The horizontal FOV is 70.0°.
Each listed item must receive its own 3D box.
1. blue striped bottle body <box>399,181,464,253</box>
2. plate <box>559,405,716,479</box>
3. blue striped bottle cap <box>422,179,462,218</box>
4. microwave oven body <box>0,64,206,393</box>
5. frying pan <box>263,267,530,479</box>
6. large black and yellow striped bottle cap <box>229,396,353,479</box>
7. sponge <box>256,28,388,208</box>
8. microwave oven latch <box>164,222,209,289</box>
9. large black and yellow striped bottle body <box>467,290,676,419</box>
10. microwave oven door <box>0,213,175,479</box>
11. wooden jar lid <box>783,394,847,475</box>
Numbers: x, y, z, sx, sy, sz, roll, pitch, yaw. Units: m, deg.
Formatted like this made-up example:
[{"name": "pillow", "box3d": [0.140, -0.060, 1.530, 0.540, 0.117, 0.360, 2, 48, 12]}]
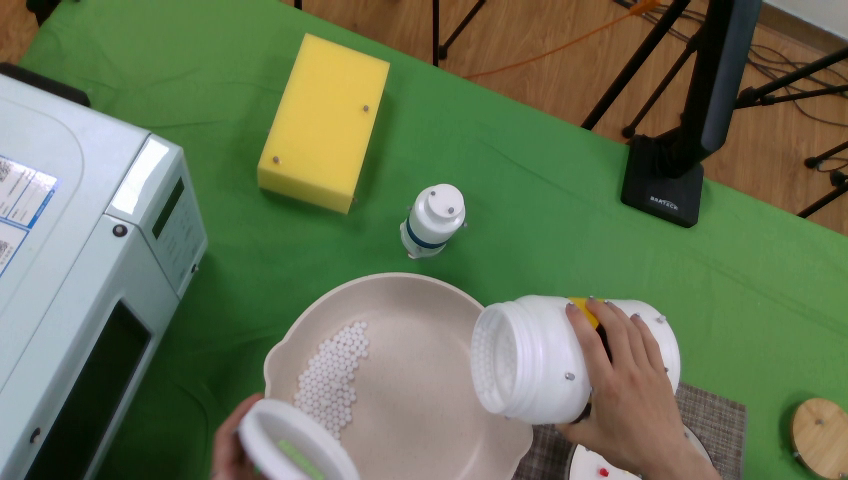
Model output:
[{"name": "blue striped bottle body", "box3d": [0.010, -0.031, 0.750, 0.063, 0.121, 0.062, 5, 70, -13]}, {"name": "plate", "box3d": [0.259, 0.302, 0.743, 0.210, 0.038, 0.207, 5, 70, -13]}, {"name": "blue striped bottle cap", "box3d": [0.021, -0.049, 0.704, 0.045, 0.020, 0.044, 4, 72, -13]}, {"name": "microwave oven body", "box3d": [-0.440, 0.083, 0.513, 0.327, 0.261, 0.439, 21, 68, -7]}, {"name": "frying pan", "box3d": [-0.058, 0.264, 0.638, 0.307, 0.103, 0.484, 20, 59, -5]}, {"name": "large black and yellow striped bottle cap", "box3d": [-0.111, 0.178, 0.514, 0.115, 0.115, 0.019, 39, 94, 1]}, {"name": "sponge", "box3d": [-0.130, -0.159, 0.789, 0.118, 0.061, 0.205, 16, 69, -9]}, {"name": "microwave oven latch", "box3d": [-0.272, 0.013, 0.686, 0.030, 0.029, 0.079, 24, 68, -6]}, {"name": "large black and yellow striped bottle body", "box3d": [0.150, 0.119, 0.637, 0.185, 0.131, 0.130, 4, 70, -20]}, {"name": "microwave oven door", "box3d": [-0.318, 0.171, 0.509, 0.039, 0.244, 0.354, 21, 67, -7]}, {"name": "wooden jar lid", "box3d": [0.547, 0.269, 0.843, 0.109, 0.021, 0.107, 4, 72, -12]}]
